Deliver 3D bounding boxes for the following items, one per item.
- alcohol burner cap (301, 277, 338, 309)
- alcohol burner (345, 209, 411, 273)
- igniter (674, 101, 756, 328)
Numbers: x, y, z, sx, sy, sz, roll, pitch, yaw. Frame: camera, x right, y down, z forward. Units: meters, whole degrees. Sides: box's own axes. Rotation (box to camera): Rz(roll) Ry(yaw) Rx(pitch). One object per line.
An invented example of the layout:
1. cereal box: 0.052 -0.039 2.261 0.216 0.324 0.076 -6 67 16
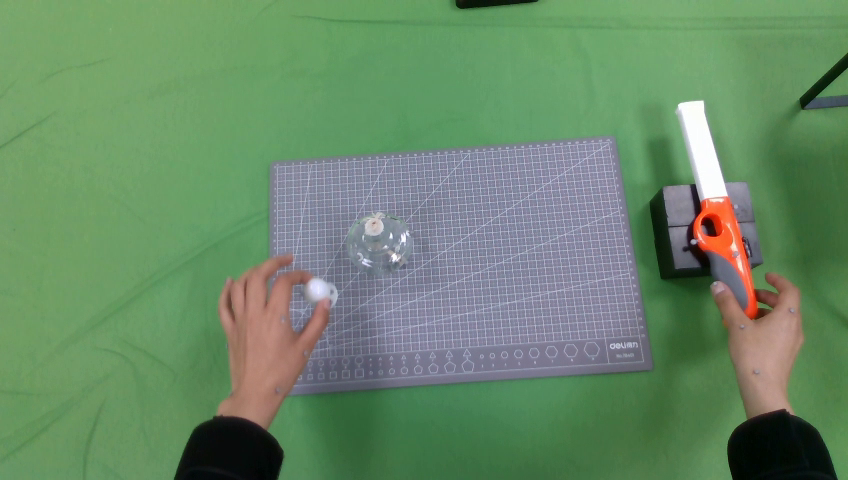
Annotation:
1. alcohol burner cap: -0.118 0.057 0.670 0.034 0.048 0.033 -2 76 8
2. alcohol burner: -0.054 -0.004 0.698 0.078 0.120 0.077 0 73 1
3. igniter: 0.331 -0.036 0.695 0.057 0.025 0.274 -5 71 3
